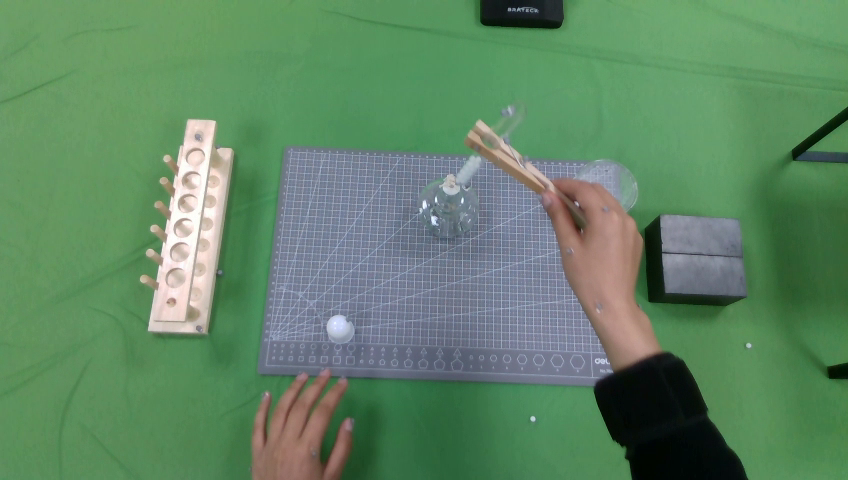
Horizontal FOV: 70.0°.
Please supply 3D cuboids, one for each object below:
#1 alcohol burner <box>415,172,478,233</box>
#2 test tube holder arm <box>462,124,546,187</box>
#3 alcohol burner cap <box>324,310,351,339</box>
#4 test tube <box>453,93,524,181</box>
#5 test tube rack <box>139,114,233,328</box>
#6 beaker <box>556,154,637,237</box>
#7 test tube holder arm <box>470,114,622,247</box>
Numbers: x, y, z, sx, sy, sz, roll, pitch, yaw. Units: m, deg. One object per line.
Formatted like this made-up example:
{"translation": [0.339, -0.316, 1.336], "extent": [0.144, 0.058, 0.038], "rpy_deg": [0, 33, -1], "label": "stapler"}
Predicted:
{"translation": [0.028, -0.052, 0.731], "extent": [0.078, 0.119, 0.077], "rpy_deg": [0, 73, -1], "label": "alcohol burner"}
{"translation": [0.075, -0.077, 0.559], "extent": [0.088, 0.015, 0.010], "rpy_deg": [32, 65, -4], "label": "test tube holder arm"}
{"translation": [-0.103, 0.098, 0.715], "extent": [0.034, 0.048, 0.033], "rpy_deg": [2, 74, -5], "label": "alcohol burner cap"}
{"translation": [0.056, -0.091, 0.567], "extent": [0.017, 0.150, 0.017], "rpy_deg": [5, 70, -15], "label": "test tube"}
{"translation": [-0.287, -0.022, 0.722], "extent": [0.067, 0.085, 0.241], "rpy_deg": [3, 72, -2], "label": "test tube rack"}
{"translation": [0.205, -0.050, 0.748], "extent": [0.084, 0.101, 0.073], "rpy_deg": [1, 72, -1], "label": "beaker"}
{"translation": [0.114, -0.055, 0.564], "extent": [0.178, 0.015, 0.013], "rpy_deg": [39, 65, -1], "label": "test tube holder arm"}
